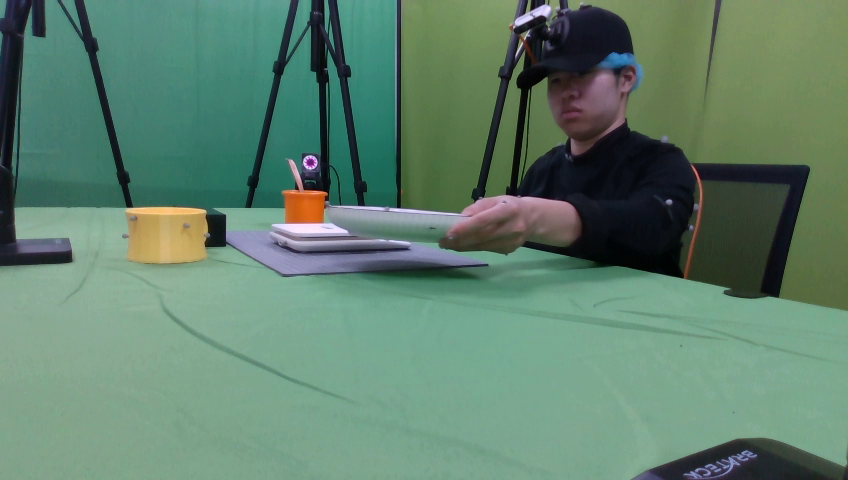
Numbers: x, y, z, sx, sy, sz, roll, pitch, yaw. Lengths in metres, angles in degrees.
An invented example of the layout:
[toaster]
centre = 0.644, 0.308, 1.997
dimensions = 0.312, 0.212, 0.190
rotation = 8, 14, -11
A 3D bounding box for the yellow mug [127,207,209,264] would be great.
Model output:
[yellow mug]
centre = -0.339, -0.009, 0.827
dimensions = 0.100, 0.064, 0.131
rotation = 5, 7, 17

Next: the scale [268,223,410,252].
[scale]
centre = -0.138, -0.006, 0.980
dimensions = 0.202, 0.031, 0.148
rotation = -1, 8, -30

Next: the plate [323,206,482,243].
[plate]
centre = -0.028, -0.021, 0.798
dimensions = 0.209, 0.038, 0.209
rotation = 4, 3, 0

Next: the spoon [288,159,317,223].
[spoon]
centre = -0.260, -0.103, 1.268
dimensions = 0.042, 0.193, 0.021
rotation = 3, -39, -33
